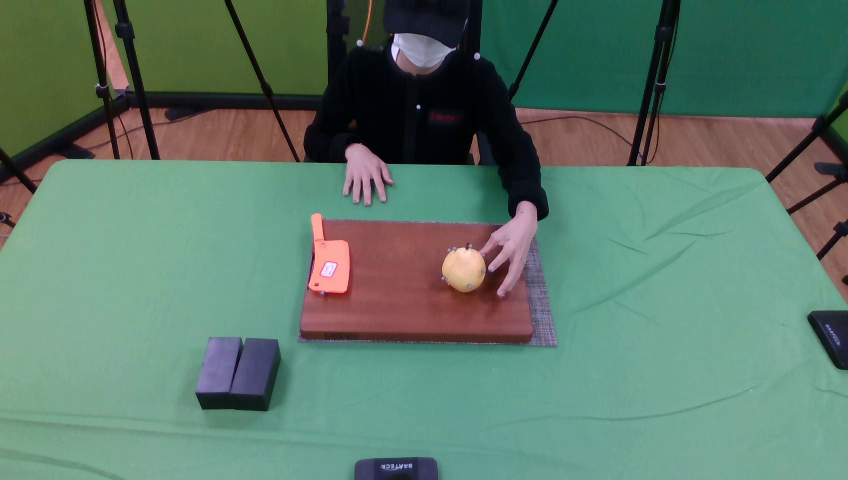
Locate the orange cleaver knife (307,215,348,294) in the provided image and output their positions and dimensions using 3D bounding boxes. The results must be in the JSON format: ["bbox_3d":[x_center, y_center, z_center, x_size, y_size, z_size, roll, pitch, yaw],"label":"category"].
[{"bbox_3d":[-0.180,0.023,1.126,0.077,0.012,0.210,-7,44,-6],"label":"orange cleaver knife"}]

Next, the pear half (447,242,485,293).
[{"bbox_3d":[0.080,0.047,1.059,0.056,0.110,0.076,24,54,19],"label":"pear half"}]

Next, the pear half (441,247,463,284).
[{"bbox_3d":[0.050,0.039,1.079,0.031,0.088,0.070,24,54,17],"label":"pear half"}]
